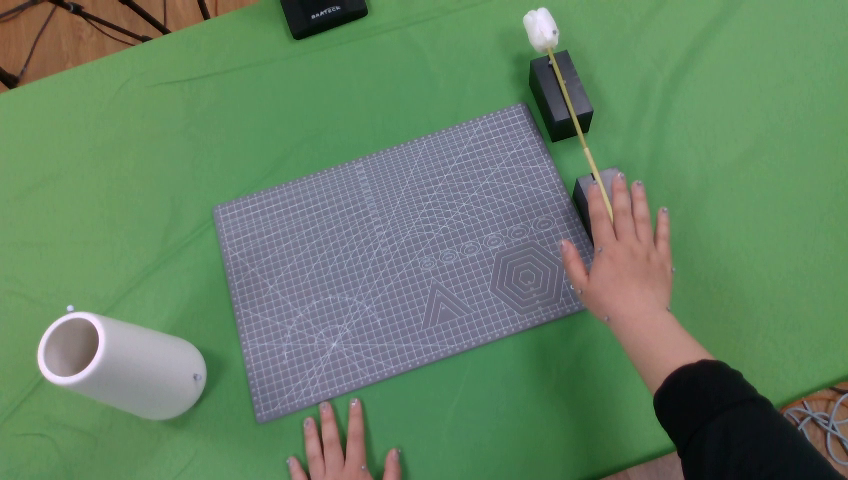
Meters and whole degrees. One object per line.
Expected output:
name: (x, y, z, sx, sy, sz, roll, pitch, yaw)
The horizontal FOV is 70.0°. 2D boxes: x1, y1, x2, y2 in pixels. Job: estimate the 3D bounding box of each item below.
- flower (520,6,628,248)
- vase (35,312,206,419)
flower: (0.186, -0.150, 0.749, 0.044, 0.038, 0.358, 0, 62, -27)
vase: (-0.315, 0.135, 0.650, 0.098, 0.201, 0.097, -2, 68, 5)
